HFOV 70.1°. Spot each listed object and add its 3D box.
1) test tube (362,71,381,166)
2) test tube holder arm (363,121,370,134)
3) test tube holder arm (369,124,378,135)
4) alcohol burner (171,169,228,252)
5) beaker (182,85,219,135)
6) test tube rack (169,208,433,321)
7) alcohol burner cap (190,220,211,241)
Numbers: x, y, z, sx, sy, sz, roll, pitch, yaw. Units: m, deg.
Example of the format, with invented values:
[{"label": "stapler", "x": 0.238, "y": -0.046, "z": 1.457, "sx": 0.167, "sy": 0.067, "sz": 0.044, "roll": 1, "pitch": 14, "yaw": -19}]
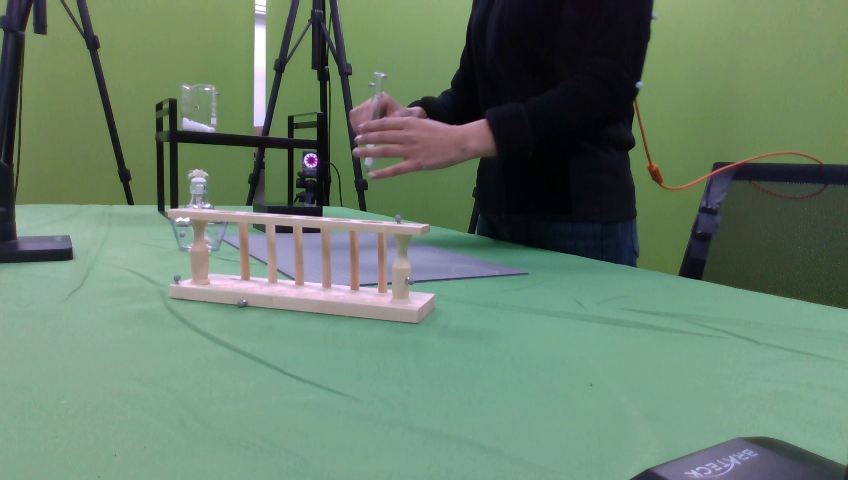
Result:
[{"label": "test tube", "x": -0.084, "y": -0.192, "z": 0.962, "sx": 0.017, "sy": 0.150, "sz": 0.017, "roll": 7, "pitch": 12, "yaw": -1}, {"label": "test tube holder arm", "x": -0.097, "y": -0.193, "z": 1.030, "sx": 0.013, "sy": 0.015, "sz": 0.178, "roll": 11, "pitch": 12, "yaw": -9}, {"label": "test tube holder arm", "x": -0.086, "y": -0.181, "z": 0.988, "sx": 0.010, "sy": 0.015, "sz": 0.087, "roll": 9, "pitch": 13, "yaw": -15}, {"label": "alcohol burner", "x": -0.325, "y": -0.042, "z": 0.875, "sx": 0.078, "sy": 0.119, "sz": 0.078, "roll": 1, "pitch": 7, "yaw": 0}, {"label": "beaker", "x": -0.479, "y": -0.276, "z": 1.291, "sx": 0.074, "sy": 0.100, "sz": 0.084, "roll": 2, "pitch": 8, "yaw": -1}, {"label": "test tube rack", "x": -0.115, "y": 0.017, "z": 0.574, "sx": 0.242, "sy": 0.085, "sz": 0.067, "roll": 4, "pitch": 8, "yaw": 14}, {"label": "alcohol burner cap", "x": -0.365, "y": -0.023, "z": 0.988, "sx": 0.034, "sy": 0.048, "sz": 0.034, "roll": 1, "pitch": 7, "yaw": 0}]
